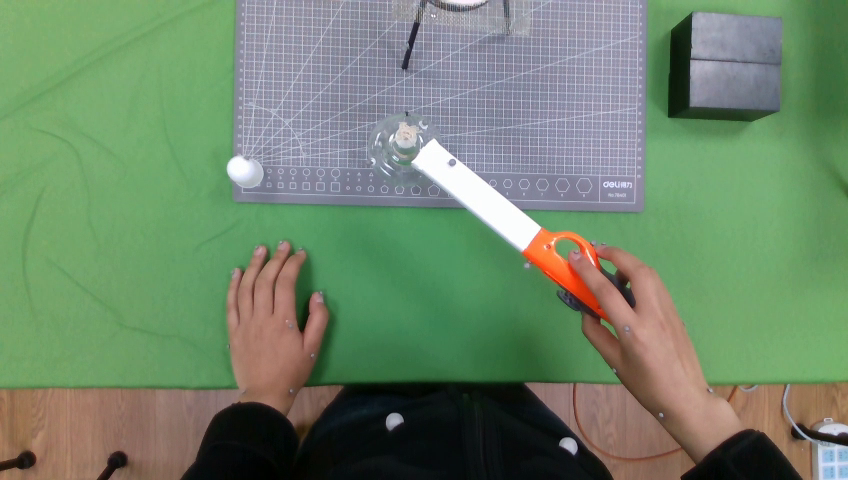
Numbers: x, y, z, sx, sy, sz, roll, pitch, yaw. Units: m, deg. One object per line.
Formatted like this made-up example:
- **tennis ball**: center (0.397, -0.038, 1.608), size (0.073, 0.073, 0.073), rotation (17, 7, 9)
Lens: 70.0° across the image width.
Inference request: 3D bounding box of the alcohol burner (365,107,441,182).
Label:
- **alcohol burner**: center (-0.020, -0.098, 0.604), size (0.078, 0.119, 0.078), rotation (0, 90, -2)

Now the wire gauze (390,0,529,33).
- **wire gauze**: center (0.034, -0.248, 0.531), size (0.125, 0.011, 0.121), rotation (4, 89, -3)

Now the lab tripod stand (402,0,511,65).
- **lab tripod stand**: center (0.024, -0.251, 0.598), size (0.148, 0.131, 0.148), rotation (0, 89, -2)

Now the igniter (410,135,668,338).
- **igniter**: center (0.106, 0.001, 0.548), size (0.277, 0.025, 0.057), rotation (38, 85, -3)

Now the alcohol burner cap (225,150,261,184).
- **alcohol burner cap**: center (-0.190, -0.077, 0.626), size (0.034, 0.048, 0.034), rotation (0, 87, -5)
